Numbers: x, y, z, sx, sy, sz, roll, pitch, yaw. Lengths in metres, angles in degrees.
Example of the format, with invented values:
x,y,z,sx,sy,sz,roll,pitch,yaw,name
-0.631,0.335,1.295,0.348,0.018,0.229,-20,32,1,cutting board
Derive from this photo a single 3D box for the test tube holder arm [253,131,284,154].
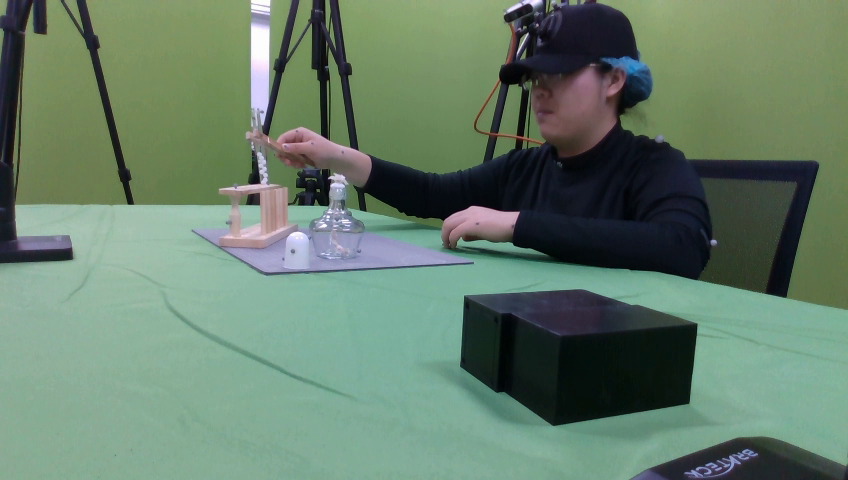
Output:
x,y,z,sx,sy,sz,roll,pitch,yaw,name
-0.281,-0.176,1.099,0.010,0.015,0.088,-4,-13,19,test tube holder arm

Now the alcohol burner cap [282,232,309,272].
x,y,z,sx,sy,sz,roll,pitch,yaw,name
-0.157,0.014,0.740,0.034,0.048,0.034,2,6,0,alcohol burner cap

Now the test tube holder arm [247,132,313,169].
x,y,z,sx,sy,sz,roll,pitch,yaw,name
-0.268,-0.167,1.141,0.013,0.015,0.179,-5,-13,25,test tube holder arm

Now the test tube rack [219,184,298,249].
x,y,z,sx,sy,sz,roll,pitch,yaw,name
-0.266,-0.046,1.001,0.067,0.085,0.242,3,7,0,test tube rack

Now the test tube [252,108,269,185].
x,y,z,sx,sy,sz,roll,pitch,yaw,name
-0.291,-0.162,1.077,0.017,0.150,0.017,-9,-8,-1,test tube

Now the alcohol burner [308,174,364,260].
x,y,z,sx,sy,sz,roll,pitch,yaw,name
-0.121,-0.033,0.841,0.078,0.119,0.078,3,5,0,alcohol burner
